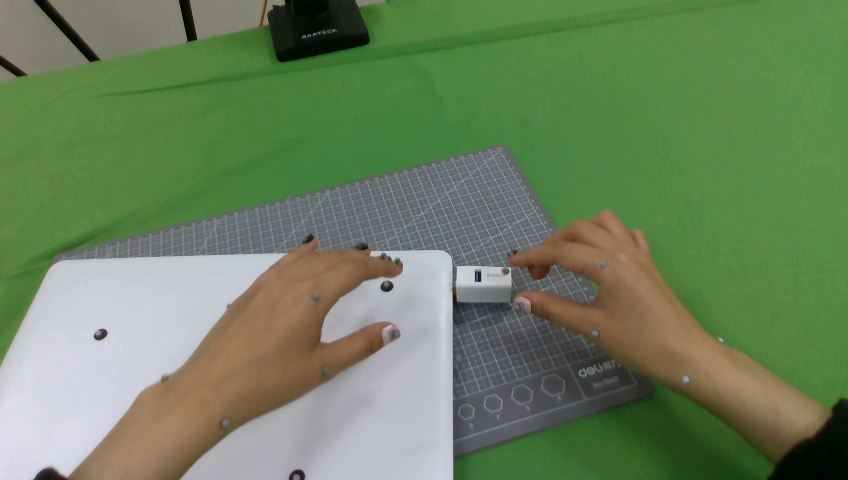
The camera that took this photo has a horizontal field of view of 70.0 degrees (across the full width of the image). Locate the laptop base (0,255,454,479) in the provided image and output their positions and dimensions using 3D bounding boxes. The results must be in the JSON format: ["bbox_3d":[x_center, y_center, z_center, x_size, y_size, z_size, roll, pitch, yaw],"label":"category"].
[{"bbox_3d":[-0.154,0.112,0.460,0.354,0.023,0.233,-1,53,4],"label":"laptop base"}]

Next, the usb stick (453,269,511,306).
[{"bbox_3d":[0.040,0.039,0.489,0.059,0.027,0.021,-2,50,7],"label":"usb stick"}]

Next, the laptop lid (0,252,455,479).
[{"bbox_3d":[-0.155,0.106,0.450,0.356,0.013,0.239,0,52,5],"label":"laptop lid"}]
